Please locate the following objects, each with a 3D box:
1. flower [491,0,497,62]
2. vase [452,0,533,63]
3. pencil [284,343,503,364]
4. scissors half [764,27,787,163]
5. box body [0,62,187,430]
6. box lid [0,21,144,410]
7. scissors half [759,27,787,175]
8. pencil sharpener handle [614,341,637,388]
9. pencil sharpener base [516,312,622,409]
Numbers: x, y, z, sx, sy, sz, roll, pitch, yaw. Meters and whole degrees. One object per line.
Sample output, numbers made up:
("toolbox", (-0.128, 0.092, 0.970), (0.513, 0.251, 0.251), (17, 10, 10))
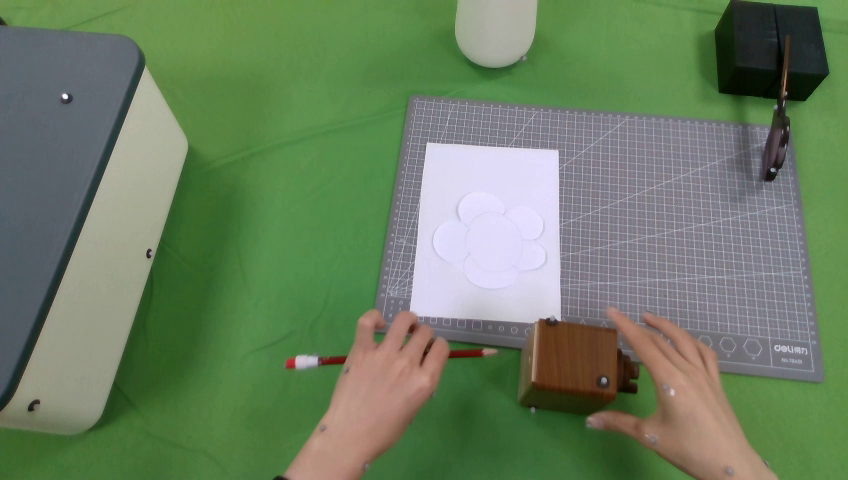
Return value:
("flower", (0.071, -0.340, 0.606), (0.044, 0.365, 0.038), (-1, 49, 5))
("vase", (0.079, -0.294, 0.677), (0.098, 0.201, 0.097), (-1, 65, 2))
("pencil", (-0.027, 0.099, 0.538), (0.194, 0.012, 0.012), (-3, 66, 0))
("scissors half", (0.387, -0.162, 0.658), (0.013, 0.040, 0.174), (11, 68, 15))
("box body", (-0.412, -0.012, 0.587), (0.254, 0.161, 0.361), (6, 67, 4))
("box lid", (-0.414, -0.044, 0.519), (0.263, 0.015, 0.369), (6, 67, 3))
("scissors half", (0.393, -0.156, 0.677), (0.012, 0.040, 0.175), (10, 85, 20))
("pencil sharpener handle", (0.179, 0.115, 0.537), (0.030, 0.068, 0.035), (7, 61, 4))
("pencil sharpener base", (0.129, 0.113, 0.552), (0.076, 0.108, 0.061), (7, 66, 4))
